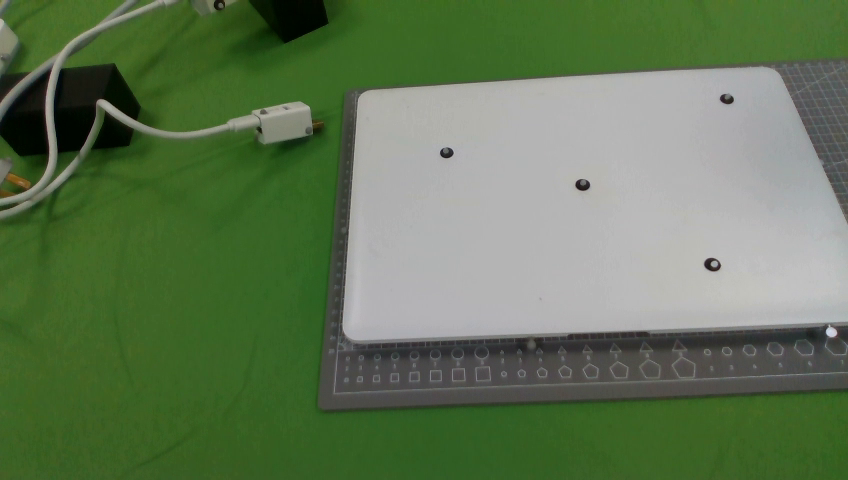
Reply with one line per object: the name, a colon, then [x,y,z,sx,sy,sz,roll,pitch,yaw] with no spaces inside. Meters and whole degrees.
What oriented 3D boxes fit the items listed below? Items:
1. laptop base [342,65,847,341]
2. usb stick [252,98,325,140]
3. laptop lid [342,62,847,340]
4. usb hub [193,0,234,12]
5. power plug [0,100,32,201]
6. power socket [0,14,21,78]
laptop base: [0.120,-0.036,0.462,0.354,0.023,0.233,-3,60,3]
usb stick: [-0.113,-0.104,0.515,0.059,0.027,0.021,-18,32,-32]
laptop lid: [0.119,-0.041,0.451,0.356,0.013,0.239,-1,59,4]
usb hub: [-0.163,-0.258,0.567,0.125,0.025,0.049,-34,62,-16]
power plug: [-0.338,-0.068,0.492,0.072,0.053,0.035,-56,34,3]
power socket: [-0.453,-0.134,0.563,0.072,0.033,0.224,1,56,4]
